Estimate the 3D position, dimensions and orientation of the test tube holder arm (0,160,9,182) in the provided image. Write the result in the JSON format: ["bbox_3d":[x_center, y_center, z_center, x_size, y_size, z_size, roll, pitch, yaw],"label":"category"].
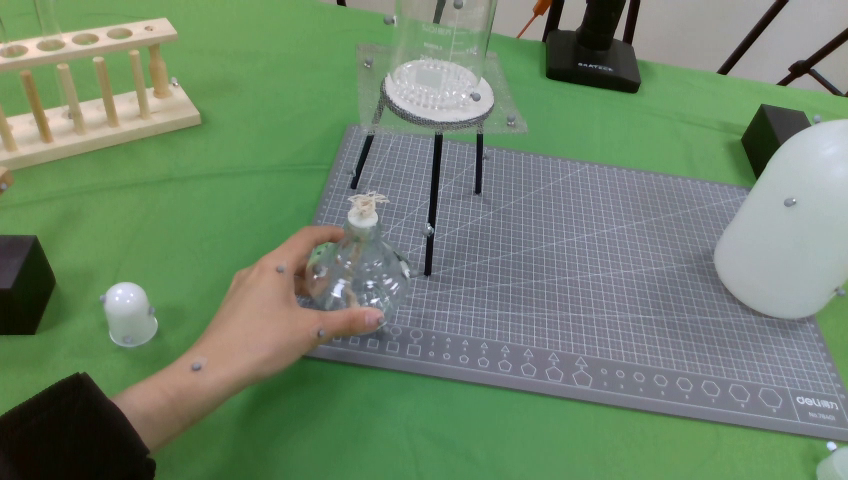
[{"bbox_3d":[-0.325,-0.026,0.424,0.010,0.015,0.087,12,44,2],"label":"test tube holder arm"}]

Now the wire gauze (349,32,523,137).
[{"bbox_3d":[0.005,-0.123,0.465,0.122,0.011,0.123,-2,50,-9],"label":"wire gauze"}]

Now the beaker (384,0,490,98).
[{"bbox_3d":[0.007,-0.160,0.432,0.084,0.101,0.073,4,47,-6],"label":"beaker"}]

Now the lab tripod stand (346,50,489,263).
[{"bbox_3d":[0.001,-0.076,0.510,0.149,0.132,0.147,6,47,-6],"label":"lab tripod stand"}]

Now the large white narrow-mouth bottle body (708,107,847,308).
[{"bbox_3d":[0.315,-0.039,0.486,0.102,0.196,0.101,4,45,-4],"label":"large white narrow-mouth bottle body"}]

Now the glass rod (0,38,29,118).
[{"bbox_3d":[-0.365,-0.190,0.502,0.008,0.201,0.008,2,40,-1],"label":"glass rod"}]

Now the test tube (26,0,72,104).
[{"bbox_3d":[-0.332,-0.187,0.529,0.017,0.151,0.017,6,41,-5],"label":"test tube"}]

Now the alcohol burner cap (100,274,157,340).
[{"bbox_3d":[-0.209,0.045,0.425,0.034,0.048,0.033,6,46,-6],"label":"alcohol burner cap"}]

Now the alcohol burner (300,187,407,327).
[{"bbox_3d":[-0.049,0.008,0.434,0.078,0.120,0.077,7,45,-6],"label":"alcohol burner"}]

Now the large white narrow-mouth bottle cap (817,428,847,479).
[{"bbox_3d":[0.298,0.153,0.423,0.038,0.024,0.037,5,45,-4],"label":"large white narrow-mouth bottle cap"}]

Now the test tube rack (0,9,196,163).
[{"bbox_3d":[-0.344,-0.135,0.546,0.243,0.086,0.066,-22,54,-28],"label":"test tube rack"}]
